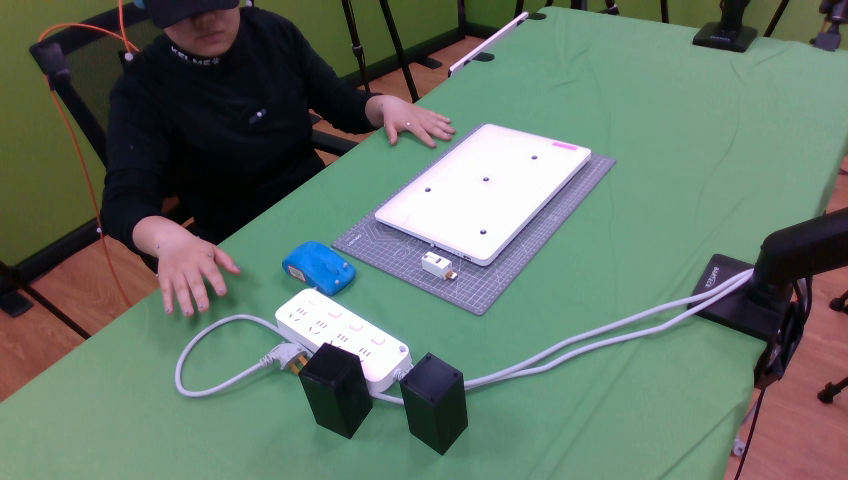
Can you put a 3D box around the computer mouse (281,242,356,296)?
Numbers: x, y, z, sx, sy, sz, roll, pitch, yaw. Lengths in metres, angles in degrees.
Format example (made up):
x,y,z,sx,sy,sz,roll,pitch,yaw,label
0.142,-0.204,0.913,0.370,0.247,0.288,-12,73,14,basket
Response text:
x,y,z,sx,sy,sz,roll,pitch,yaw,label
-0.164,0.041,0.934,0.116,0.041,0.063,27,48,28,computer mouse

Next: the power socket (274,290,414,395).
x,y,z,sx,sy,sz,roll,pitch,yaw,label
-0.114,0.134,0.820,0.225,0.033,0.072,25,49,33,power socket

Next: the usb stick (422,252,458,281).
x,y,z,sx,sy,sz,roll,pitch,yaw,label
0.025,0.042,0.908,0.058,0.027,0.021,27,48,31,usb stick

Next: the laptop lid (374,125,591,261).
x,y,z,sx,sy,sz,roll,pitch,yaw,label
0.109,-0.101,1.057,0.239,0.013,0.358,23,48,34,laptop lid

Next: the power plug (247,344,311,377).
x,y,z,sx,sy,sz,roll,pitch,yaw,label
-0.187,0.169,0.798,0.072,0.035,0.052,-42,71,-5,power plug

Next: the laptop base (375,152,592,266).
x,y,z,sx,sy,sz,roll,pitch,yaw,label
0.112,-0.091,1.063,0.233,0.023,0.355,21,47,34,laptop base
